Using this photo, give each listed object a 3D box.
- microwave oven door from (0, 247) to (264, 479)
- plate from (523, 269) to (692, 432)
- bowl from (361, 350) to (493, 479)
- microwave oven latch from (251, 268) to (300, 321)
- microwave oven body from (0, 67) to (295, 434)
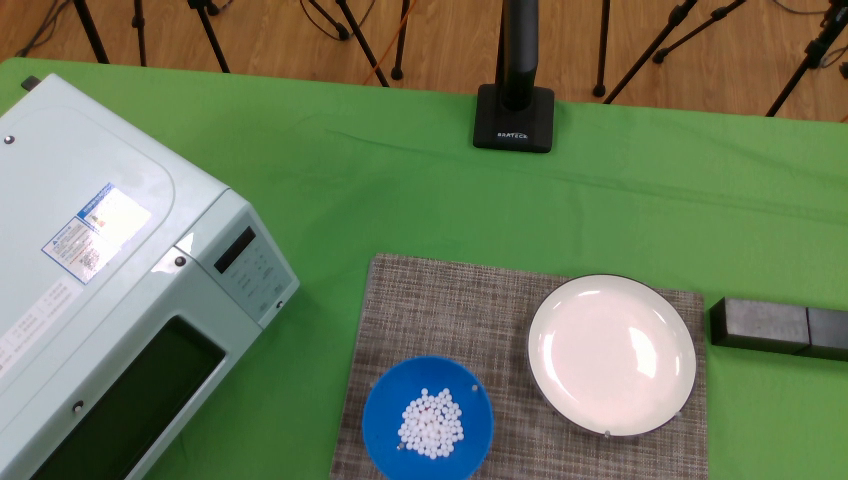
[{"bbox_3d":[-0.328,0.190,0.637,0.039,0.245,0.355,31,71,15],"label":"microwave oven door"},{"bbox_3d":[0.229,0.139,0.770,0.207,0.039,0.206,0,66,1],"label":"plate"},{"bbox_3d":[0.005,0.214,0.721,0.151,0.077,0.150,-1,66,2],"label":"bowl"},{"bbox_3d":[-0.198,0.067,0.799,0.030,0.030,0.079,34,72,15],"label":"microwave oven latch"},{"bbox_3d":[-0.424,0.087,0.691,0.324,0.262,0.440,32,71,14],"label":"microwave oven body"}]
